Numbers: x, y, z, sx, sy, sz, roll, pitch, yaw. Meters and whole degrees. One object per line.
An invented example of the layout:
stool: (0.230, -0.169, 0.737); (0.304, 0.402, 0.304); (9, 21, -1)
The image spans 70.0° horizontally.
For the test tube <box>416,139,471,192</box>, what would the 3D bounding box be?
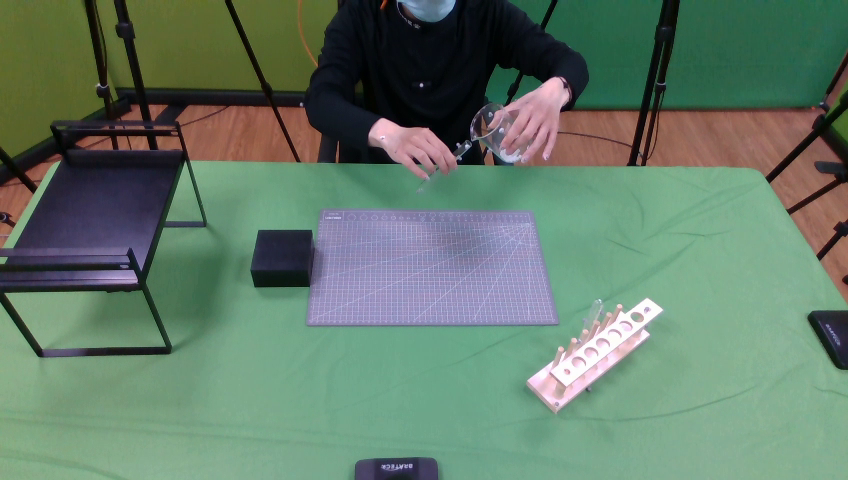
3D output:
test tube: (0.035, -0.138, 1.138); (0.017, 0.150, 0.017); (29, 39, -27)

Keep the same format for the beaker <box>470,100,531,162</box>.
beaker: (0.142, -0.194, 1.114); (0.084, 0.101, 0.073); (-46, 40, 14)

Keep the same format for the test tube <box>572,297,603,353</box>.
test tube: (0.263, 0.141, 0.977); (0.017, 0.151, 0.017); (2, 47, -2)

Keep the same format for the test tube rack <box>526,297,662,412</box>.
test tube rack: (0.284, 0.176, 1.007); (0.242, 0.085, 0.066); (-29, 54, -27)
